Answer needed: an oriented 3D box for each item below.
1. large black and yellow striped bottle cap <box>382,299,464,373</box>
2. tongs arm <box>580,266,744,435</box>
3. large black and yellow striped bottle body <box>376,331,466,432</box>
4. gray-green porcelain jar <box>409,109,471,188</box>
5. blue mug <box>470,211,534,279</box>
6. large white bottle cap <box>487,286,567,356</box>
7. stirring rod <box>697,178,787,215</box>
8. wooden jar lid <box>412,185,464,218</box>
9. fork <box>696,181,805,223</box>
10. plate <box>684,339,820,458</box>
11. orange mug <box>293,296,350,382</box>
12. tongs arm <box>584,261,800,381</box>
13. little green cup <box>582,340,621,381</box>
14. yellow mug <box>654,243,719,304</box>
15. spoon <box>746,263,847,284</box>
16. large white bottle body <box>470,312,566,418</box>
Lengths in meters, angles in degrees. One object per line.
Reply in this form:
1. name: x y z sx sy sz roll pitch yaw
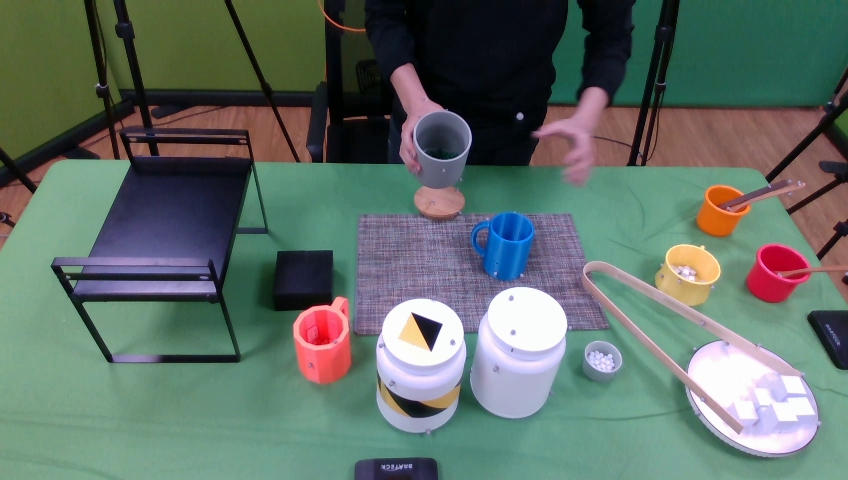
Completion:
1. large black and yellow striped bottle cap: -0.002 0.132 0.843 0.115 0.019 0.114 2 46 -2
2. tongs arm: 0.384 0.173 1.028 0.028 0.028 0.385 -25 46 -15
3. large black and yellow striped bottle body: -0.007 0.189 0.905 0.131 0.185 0.130 2 47 -2
4. gray-green porcelain jar: 0.026 -0.162 1.121 0.106 0.127 0.105 2 68 -5
5. blue mug: 0.141 0.005 1.140 0.116 0.106 0.082 18 48 13
6. large white bottle cap: 0.147 0.114 0.869 0.115 0.018 0.114 3 46 -3
7. stirring rod: 0.650 -0.088 1.246 0.006 0.176 0.014 29 50 -39
8. wooden jar lid: 0.029 -0.083 1.276 0.108 0.021 0.107 4 43 -3
9. fork: 0.659 -0.077 1.232 0.207 0.019 0.028 -26 35 34
10. plate: 0.523 0.256 0.982 0.208 0.039 0.206 2 46 -2
11. orange mug: -0.158 0.154 0.985 0.083 0.101 0.125 17 52 11
12. tongs arm: 0.452 0.137 1.064 0.051 0.027 0.382 -34 50 -27
13. little green cup: 0.295 0.204 1.014 0.061 0.039 0.061 2 45 -2
14. yellow mug: 0.504 0.054 1.154 0.099 0.064 0.130 28 50 22
15. spoon: 0.696 0.057 1.113 0.193 0.022 0.041 -16 27 48
16. large white bottle body: 0.143 0.173 0.930 0.131 0.185 0.130 2 46 -2
